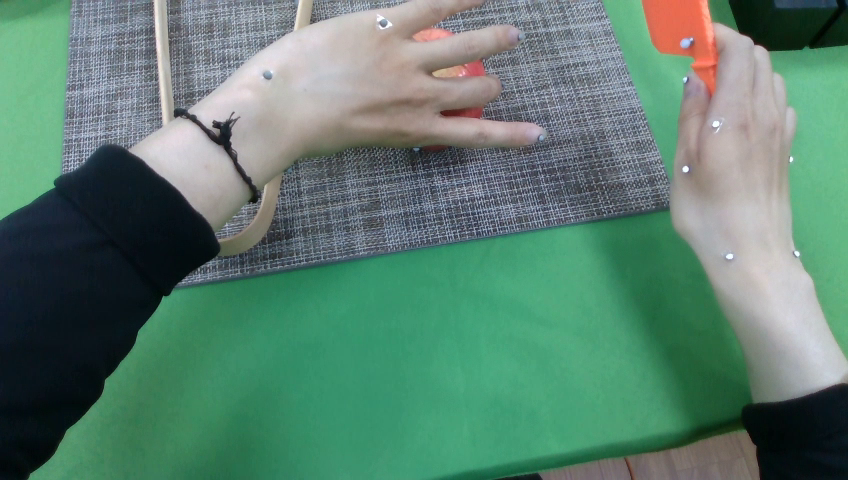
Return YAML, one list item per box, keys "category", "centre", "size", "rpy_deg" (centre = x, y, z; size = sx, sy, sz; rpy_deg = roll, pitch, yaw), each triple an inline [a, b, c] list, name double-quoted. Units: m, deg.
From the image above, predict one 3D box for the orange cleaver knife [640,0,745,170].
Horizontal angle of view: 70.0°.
- category: "orange cleaver knife"
  centre: [0.165, -0.146, 0.390]
  size: [0.012, 0.076, 0.213]
  rpy_deg: [-26, 111, -7]

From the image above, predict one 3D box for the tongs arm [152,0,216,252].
- category: "tongs arm"
  centre: [-0.203, -0.166, 0.489]
  size: [0.028, 0.028, 0.384]
  rpy_deg: [-10, 68, -9]

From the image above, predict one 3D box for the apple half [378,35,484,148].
- category: "apple half"
  centre: [-0.002, -0.100, 0.440]
  size: [0.080, 0.075, 0.053]
  rpy_deg: [39, 75, 11]

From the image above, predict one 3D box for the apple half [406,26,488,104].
- category: "apple half"
  centre: [0.022, -0.128, 0.451]
  size: [0.081, 0.082, 0.033]
  rpy_deg: [37, 75, 14]

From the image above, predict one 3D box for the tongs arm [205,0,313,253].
- category: "tongs arm"
  centre: [-0.118, -0.172, 0.491]
  size: [0.051, 0.027, 0.382]
  rpy_deg: [2, 68, -1]
